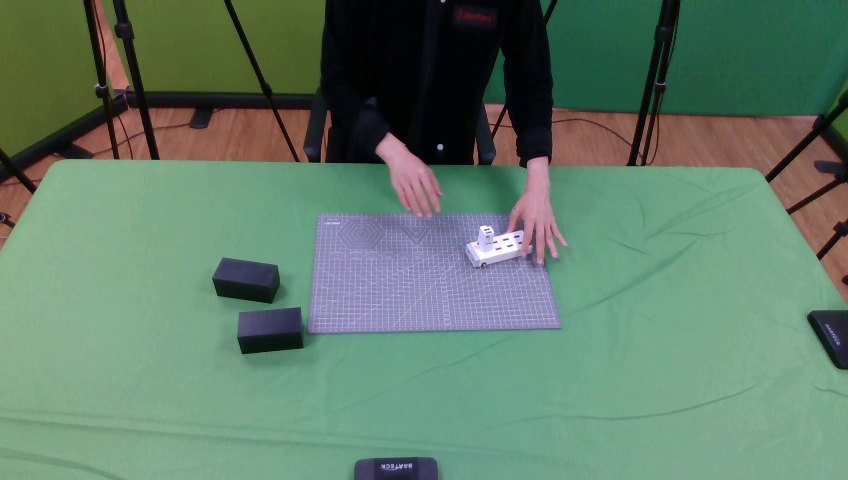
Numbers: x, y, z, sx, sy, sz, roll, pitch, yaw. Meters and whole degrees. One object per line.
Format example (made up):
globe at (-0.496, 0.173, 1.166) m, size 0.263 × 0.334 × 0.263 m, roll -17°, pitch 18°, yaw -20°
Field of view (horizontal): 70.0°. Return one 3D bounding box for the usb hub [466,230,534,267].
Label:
usb hub at (0.148, 0.017, 1.185) m, size 0.125 × 0.025 × 0.049 m, roll -14°, pitch 49°, yaw -16°

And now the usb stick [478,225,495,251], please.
usb stick at (0.118, 0.001, 1.158) m, size 0.021 × 0.059 × 0.027 m, roll -15°, pitch 51°, yaw -19°
